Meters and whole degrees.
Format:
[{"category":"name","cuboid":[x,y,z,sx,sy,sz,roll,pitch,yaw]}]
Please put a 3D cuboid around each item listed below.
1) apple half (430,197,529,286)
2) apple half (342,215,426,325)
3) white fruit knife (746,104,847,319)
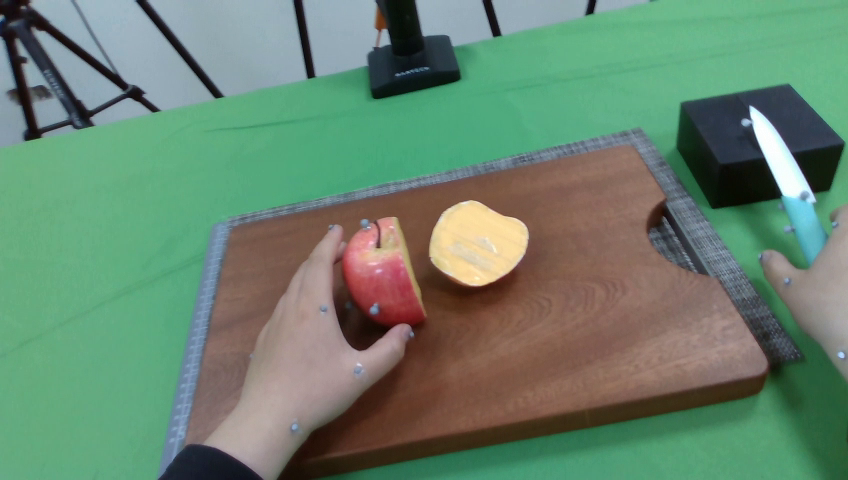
[{"category":"apple half","cuboid":[0.043,0.007,0.491,0.081,0.033,0.080,-4,59,6]},{"category":"apple half","cuboid":[-0.033,0.027,0.460,0.053,0.075,0.080,-18,46,2]},{"category":"white fruit knife","cuboid":[0.295,-0.030,0.477,0.027,0.016,0.205,-9,60,4]}]
